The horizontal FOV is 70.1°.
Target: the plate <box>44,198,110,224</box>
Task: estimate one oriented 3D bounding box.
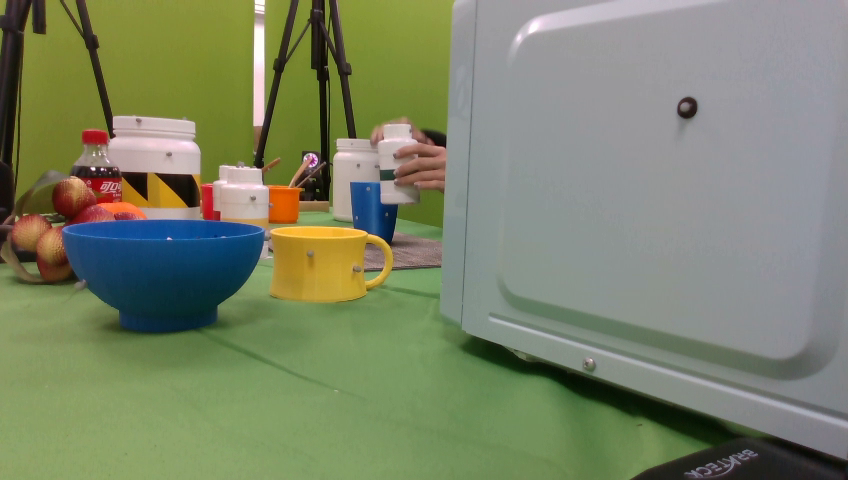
[{"bbox_3d":[-0.617,-0.056,1.179,0.209,0.038,0.209,3,7,0],"label":"plate"}]

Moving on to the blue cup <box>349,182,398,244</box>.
[{"bbox_3d":[-0.082,-0.046,1.010,0.093,0.100,0.092,1,6,0],"label":"blue cup"}]

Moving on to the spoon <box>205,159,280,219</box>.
[{"bbox_3d":[-0.365,-0.103,1.214,0.193,0.021,0.041,-42,4,6],"label":"spoon"}]

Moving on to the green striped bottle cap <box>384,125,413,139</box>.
[{"bbox_3d":[-0.040,-0.166,0.933,0.044,0.020,0.044,-5,8,1],"label":"green striped bottle cap"}]

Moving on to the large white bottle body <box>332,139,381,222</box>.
[{"bbox_3d":[-0.145,-0.137,1.387,0.131,0.184,0.130,2,7,0],"label":"large white bottle body"}]

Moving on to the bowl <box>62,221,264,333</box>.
[{"bbox_3d":[-0.209,0.029,0.496,0.151,0.077,0.151,2,7,0],"label":"bowl"}]

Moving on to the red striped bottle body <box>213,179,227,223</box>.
[{"bbox_3d":[-0.284,-0.048,0.909,0.063,0.119,0.063,3,11,0],"label":"red striped bottle body"}]

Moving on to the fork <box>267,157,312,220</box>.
[{"bbox_3d":[-0.289,-0.116,1.321,0.028,0.019,0.207,6,52,18],"label":"fork"}]

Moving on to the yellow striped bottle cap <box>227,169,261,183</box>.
[{"bbox_3d":[-0.243,-0.087,0.818,0.044,0.018,0.044,3,6,0],"label":"yellow striped bottle cap"}]

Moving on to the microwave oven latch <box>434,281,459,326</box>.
[{"bbox_3d":[0.044,0.045,0.470,0.079,0.029,0.030,-3,8,-39],"label":"microwave oven latch"}]

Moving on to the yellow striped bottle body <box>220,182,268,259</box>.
[{"bbox_3d":[-0.246,-0.036,0.825,0.063,0.120,0.063,3,8,0],"label":"yellow striped bottle body"}]

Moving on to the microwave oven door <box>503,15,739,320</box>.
[{"bbox_3d":[0.218,-0.065,0.600,0.358,0.243,0.039,-4,10,-41],"label":"microwave oven door"}]

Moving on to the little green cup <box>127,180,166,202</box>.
[{"bbox_3d":[-0.486,-0.086,1.061,0.061,0.038,0.061,1,7,0],"label":"little green cup"}]

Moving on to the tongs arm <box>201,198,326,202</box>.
[{"bbox_3d":[-0.433,-0.089,1.508,0.390,0.028,0.028,-1,2,-29],"label":"tongs arm"}]

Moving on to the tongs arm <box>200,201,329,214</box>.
[{"bbox_3d":[-0.378,-0.079,1.440,0.387,0.026,0.050,-4,7,-44],"label":"tongs arm"}]

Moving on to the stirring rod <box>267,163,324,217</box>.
[{"bbox_3d":[-0.278,-0.105,1.294,0.176,0.006,0.014,-47,25,-18],"label":"stirring rod"}]

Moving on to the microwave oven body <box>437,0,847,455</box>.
[{"bbox_3d":[0.279,-0.040,0.465,0.444,0.260,0.324,-3,9,-41],"label":"microwave oven body"}]

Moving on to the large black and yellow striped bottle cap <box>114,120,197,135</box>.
[{"bbox_3d":[-0.407,-0.171,0.920,0.115,0.019,0.115,2,9,0],"label":"large black and yellow striped bottle cap"}]

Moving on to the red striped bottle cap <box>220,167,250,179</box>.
[{"bbox_3d":[-0.281,-0.100,0.901,0.044,0.017,0.044,-1,5,0],"label":"red striped bottle cap"}]

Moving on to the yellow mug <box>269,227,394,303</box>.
[{"bbox_3d":[-0.094,0.023,0.629,0.131,0.064,0.099,0,7,-22],"label":"yellow mug"}]

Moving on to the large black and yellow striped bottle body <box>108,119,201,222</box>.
[{"bbox_3d":[-0.412,-0.088,0.930,0.131,0.184,0.130,3,7,0],"label":"large black and yellow striped bottle body"}]

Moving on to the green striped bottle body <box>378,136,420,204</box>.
[{"bbox_3d":[-0.039,-0.116,0.940,0.063,0.119,0.063,-2,6,1],"label":"green striped bottle body"}]

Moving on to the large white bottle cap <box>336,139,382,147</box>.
[{"bbox_3d":[-0.143,-0.219,1.375,0.115,0.018,0.115,2,8,0],"label":"large white bottle cap"}]
